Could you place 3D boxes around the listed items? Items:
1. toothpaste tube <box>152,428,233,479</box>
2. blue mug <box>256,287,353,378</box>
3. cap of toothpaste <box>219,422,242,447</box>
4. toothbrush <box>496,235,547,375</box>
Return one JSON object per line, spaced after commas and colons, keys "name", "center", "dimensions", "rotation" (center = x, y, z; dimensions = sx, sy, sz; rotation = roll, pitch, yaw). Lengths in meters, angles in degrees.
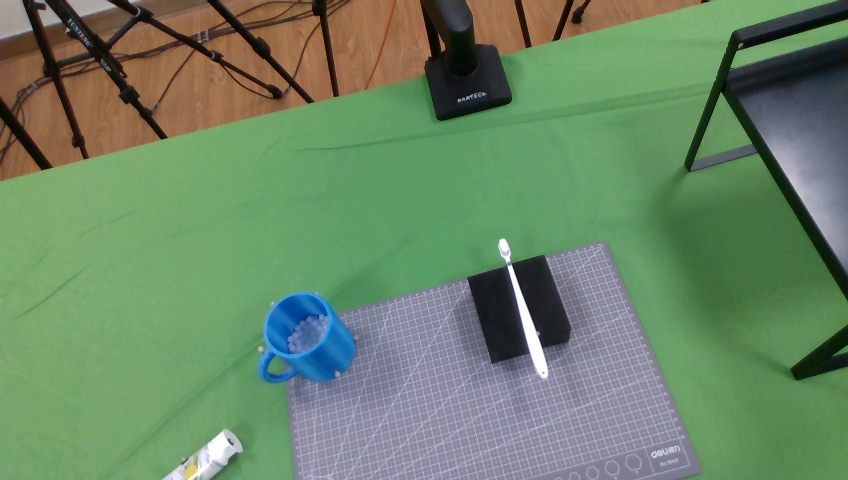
{"name": "toothpaste tube", "center": [-0.297, 0.288, 0.730], "dimensions": [0.165, 0.035, 0.054], "rotation": [-41, 60, -8]}
{"name": "blue mug", "center": [-0.152, 0.125, 0.740], "dimensions": [0.116, 0.107, 0.081], "rotation": [-41, 64, -11]}
{"name": "cap of toothpaste", "center": [-0.237, 0.239, 0.738], "dimensions": [0.011, 0.037, 0.037], "rotation": [-41, 64, -7]}
{"name": "toothbrush", "center": [0.115, 0.073, 0.718], "dimensions": [0.014, 0.017, 0.180], "rotation": [-12, 62, -4]}
